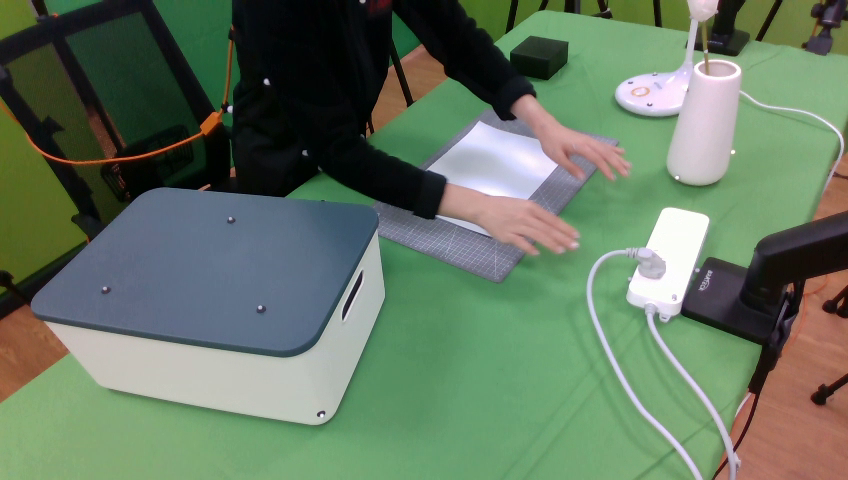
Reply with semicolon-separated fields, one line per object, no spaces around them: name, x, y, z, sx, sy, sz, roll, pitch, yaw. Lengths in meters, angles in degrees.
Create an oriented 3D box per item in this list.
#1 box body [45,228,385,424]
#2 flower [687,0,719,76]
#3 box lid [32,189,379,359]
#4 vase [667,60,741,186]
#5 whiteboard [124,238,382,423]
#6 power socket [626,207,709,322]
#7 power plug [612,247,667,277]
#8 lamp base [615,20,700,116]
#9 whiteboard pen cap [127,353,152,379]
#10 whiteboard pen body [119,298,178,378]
box body;-0.254;0.081;0.807;0.363;0.161;0.253;5;42;14
flower;0.436;-0.242;0.934;0.038;0.364;0.043;-24;49;8
box lid;-0.260;0.025;0.758;0.370;0.015;0.263;5;41;14
vase;0.463;-0.189;0.994;0.098;0.201;0.097;-4;40;4
whiteboard;-0.242;0.094;0.809;0.304;0.144;0.216;4;45;13
power socket;0.360;0.026;0.886;0.072;0.033;0.227;17;46;27
power plug;0.306;0.031;0.852;0.072;0.053;0.035;21;48;38
lamp base;0.484;-0.364;1.211;0.180;0.181;0.159;-15;41;-14
whiteboard pen cap;-0.385;0.170;0.820;0.018;0.018;0.033;7;42;16
whiteboard pen body;-0.396;0.139;0.869;0.017;0.017;0.140;6;46;15
